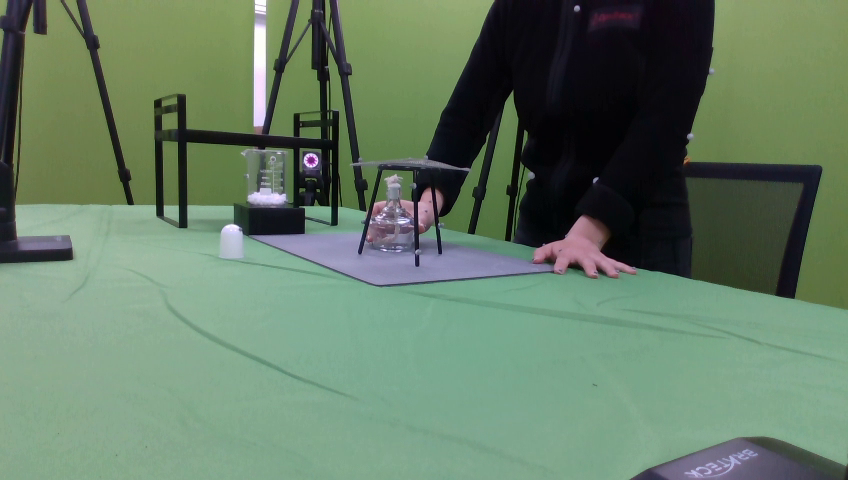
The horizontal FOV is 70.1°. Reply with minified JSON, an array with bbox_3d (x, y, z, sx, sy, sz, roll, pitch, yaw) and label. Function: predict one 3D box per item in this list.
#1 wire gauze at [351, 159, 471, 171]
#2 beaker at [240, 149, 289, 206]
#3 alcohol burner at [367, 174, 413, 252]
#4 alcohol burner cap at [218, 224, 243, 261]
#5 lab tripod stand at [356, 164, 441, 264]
[{"bbox_3d":[-0.019,-0.106,0.847,0.121,0.011,0.126,8,7,42],"label":"wire gauze"},{"bbox_3d":[-0.286,-0.112,1.086,0.084,0.100,0.073,-1,9,-23],"label":"beaker"},{"bbox_3d":[-0.049,-0.042,0.931,0.078,0.119,0.078,1,12,0],"label":"alcohol burner"},{"bbox_3d":[-0.263,0.002,0.824,0.034,0.048,0.034,5,9,0],"label":"alcohol burner cap"},{"bbox_3d":[-0.023,-0.041,0.859,0.148,0.131,0.148,2,5,0],"label":"lab tripod stand"}]
